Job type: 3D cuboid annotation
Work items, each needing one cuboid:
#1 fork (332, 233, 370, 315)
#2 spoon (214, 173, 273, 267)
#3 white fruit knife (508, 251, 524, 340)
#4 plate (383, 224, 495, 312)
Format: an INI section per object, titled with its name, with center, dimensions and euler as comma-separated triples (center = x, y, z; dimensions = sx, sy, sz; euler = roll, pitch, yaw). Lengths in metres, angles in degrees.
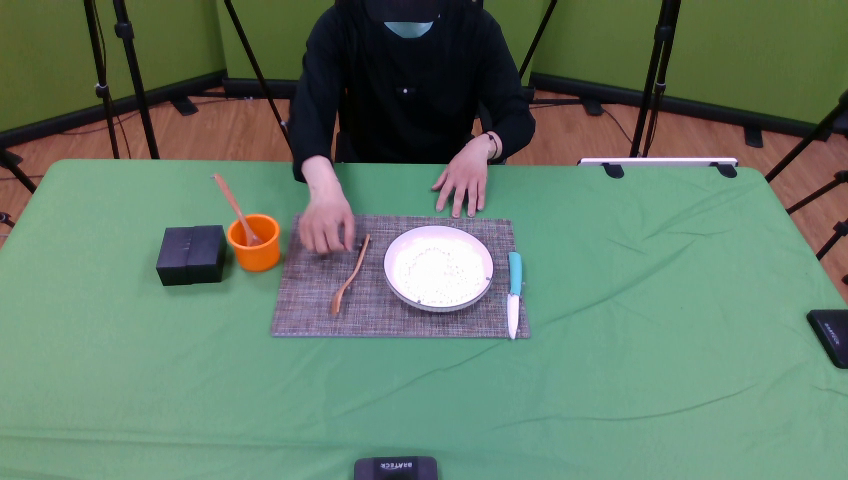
[fork]
center = -0.134, 0.058, 1.127
dimensions = 0.019, 0.028, 0.206
euler = 34, 44, -11
[spoon]
center = -0.336, -0.037, 1.121
dimensions = 0.041, 0.194, 0.021
euler = -29, 10, -25
[white fruit knife]
center = 0.169, 0.098, 1.113
dimensions = 0.027, 0.016, 0.206
euler = -13, 43, 23
[plate]
center = 0.026, 0.055, 1.128
dimensions = 0.209, 0.038, 0.208
euler = 2, 46, -2
